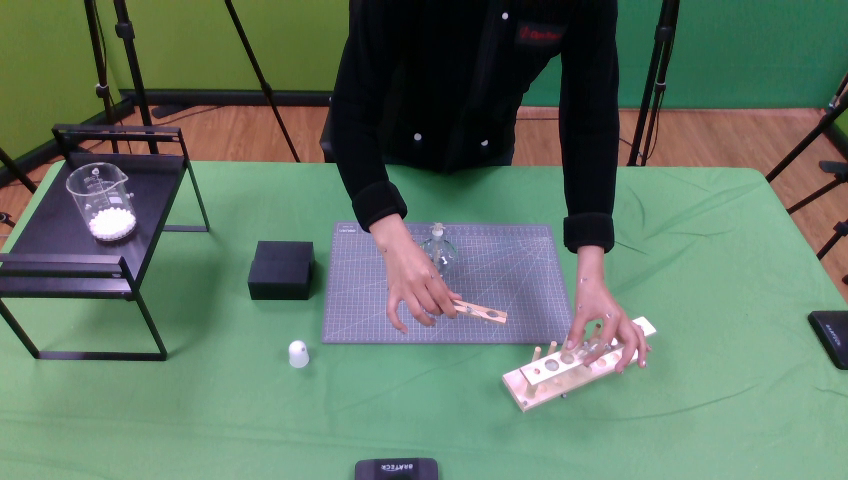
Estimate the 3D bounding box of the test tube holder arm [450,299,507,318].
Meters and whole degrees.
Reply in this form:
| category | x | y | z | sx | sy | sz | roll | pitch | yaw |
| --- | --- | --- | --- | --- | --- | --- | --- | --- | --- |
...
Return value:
| category | x | y | z | sx | sy | sz | roll | pitch | yaw |
| --- | --- | --- | --- | --- | --- | --- | --- | --- | --- |
| test tube holder arm | 0.080 | 0.104 | 0.904 | 0.088 | 0.015 | 0.010 | 13 | 60 | 9 |

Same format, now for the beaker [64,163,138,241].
| category | x | y | z | sx | sy | sz | roll | pitch | yaw |
| --- | --- | --- | --- | --- | --- | --- | --- | --- | --- |
| beaker | -0.477 | -0.055 | 0.910 | 0.084 | 0.101 | 0.073 | -9 | 48 | -13 |

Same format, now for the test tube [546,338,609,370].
| category | x | y | z | sx | sy | sz | roll | pitch | yaw |
| --- | --- | --- | --- | --- | --- | --- | --- | --- | --- |
| test tube | 0.225 | 0.181 | 0.933 | 0.017 | 0.150 | 0.017 | 17 | 55 | -26 |

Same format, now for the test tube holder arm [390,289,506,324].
| category | x | y | z | sx | sy | sz | roll | pitch | yaw |
| --- | --- | --- | --- | --- | --- | --- | --- | --- | --- |
| test tube holder arm | 0.035 | 0.099 | 0.908 | 0.178 | 0.015 | 0.013 | 12 | 60 | 9 |

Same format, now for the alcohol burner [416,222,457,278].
| category | x | y | z | sx | sy | sz | roll | pitch | yaw |
| --- | --- | --- | --- | --- | --- | --- | --- | --- | --- |
| alcohol burner | 0.024 | 0.014 | 1.115 | 0.078 | 0.120 | 0.077 | 1 | 45 | -1 |

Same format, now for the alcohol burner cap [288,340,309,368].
| category | x | y | z | sx | sy | sz | roll | pitch | yaw |
| --- | --- | --- | --- | --- | --- | --- | --- | --- | --- |
| alcohol burner cap | -0.206 | 0.183 | 0.991 | 0.034 | 0.048 | 0.033 | 2 | 48 | -2 |

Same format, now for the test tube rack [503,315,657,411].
| category | x | y | z | sx | sy | sz | roll | pitch | yaw |
| --- | --- | --- | --- | --- | --- | --- | --- | --- | --- |
| test tube rack | 0.253 | 0.186 | 0.988 | 0.242 | 0.085 | 0.066 | -18 | 50 | -20 |
